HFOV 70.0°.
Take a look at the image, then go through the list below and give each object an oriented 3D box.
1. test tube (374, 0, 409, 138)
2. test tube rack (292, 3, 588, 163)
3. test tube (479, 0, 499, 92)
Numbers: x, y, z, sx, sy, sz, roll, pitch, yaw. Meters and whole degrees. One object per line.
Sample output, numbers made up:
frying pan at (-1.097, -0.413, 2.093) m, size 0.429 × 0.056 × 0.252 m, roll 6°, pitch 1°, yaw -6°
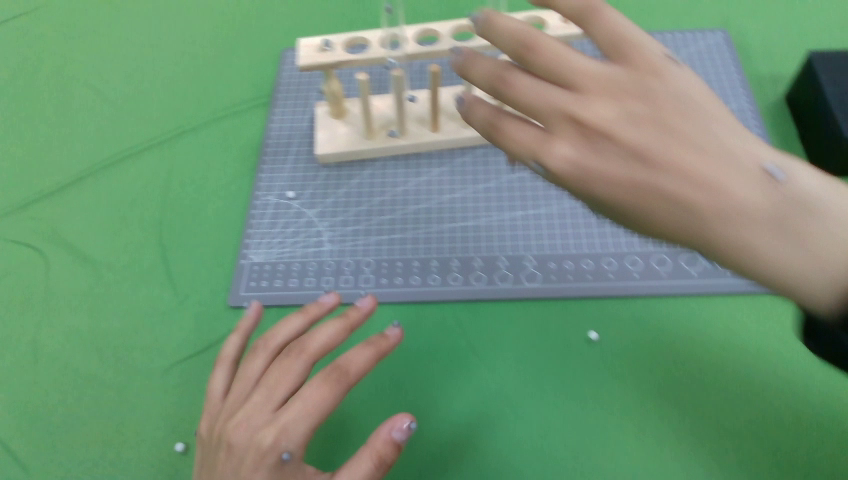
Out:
test tube at (-0.025, -0.138, 0.477) m, size 0.017 × 0.152 × 0.017 m, roll -2°, pitch 55°, yaw 3°
test tube rack at (0.016, -0.133, 0.523) m, size 0.242 × 0.086 × 0.066 m, roll -7°, pitch 57°, yaw 0°
test tube at (0.053, -0.183, 0.493) m, size 0.017 × 0.152 × 0.017 m, roll -3°, pitch 52°, yaw 5°
